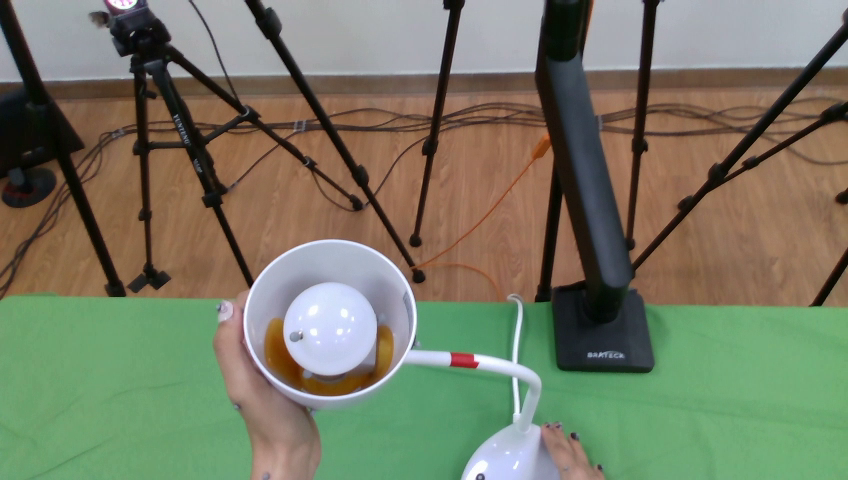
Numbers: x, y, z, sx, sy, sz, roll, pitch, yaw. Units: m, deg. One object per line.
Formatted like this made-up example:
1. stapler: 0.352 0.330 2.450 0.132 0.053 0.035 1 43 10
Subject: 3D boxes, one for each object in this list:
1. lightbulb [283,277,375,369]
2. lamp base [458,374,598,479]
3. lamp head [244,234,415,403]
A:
1. lightbulb: -0.066 0.064 0.419 0.059 0.108 0.059 4 66 -8
2. lamp base: 0.110 0.227 0.625 0.161 0.182 0.177 -11 52 -4
3. lamp head: -0.064 0.070 0.443 0.112 0.124 0.111 1 63 -2
